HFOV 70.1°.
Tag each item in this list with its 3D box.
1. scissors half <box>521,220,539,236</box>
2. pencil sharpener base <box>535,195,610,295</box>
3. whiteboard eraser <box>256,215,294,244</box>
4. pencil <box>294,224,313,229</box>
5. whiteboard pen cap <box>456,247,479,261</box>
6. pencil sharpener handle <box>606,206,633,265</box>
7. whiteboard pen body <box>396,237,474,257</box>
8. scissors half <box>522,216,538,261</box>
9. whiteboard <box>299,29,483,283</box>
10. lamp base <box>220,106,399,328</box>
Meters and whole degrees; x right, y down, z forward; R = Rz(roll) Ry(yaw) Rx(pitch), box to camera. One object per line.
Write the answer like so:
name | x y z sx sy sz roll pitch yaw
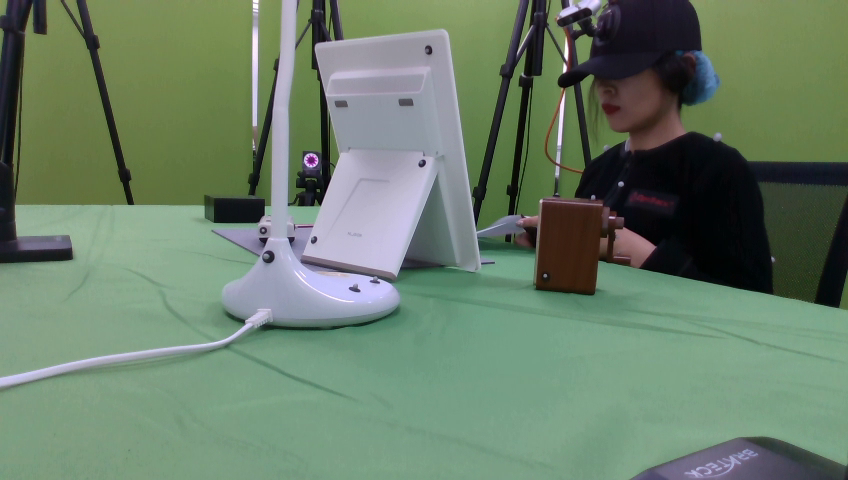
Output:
scissors half | 0.204 -0.024 1.094 0.013 0.040 0.176 13 3 28
pencil sharpener base | 0.172 0.005 0.695 0.076 0.107 0.061 5 7 16
whiteboard eraser | -0.232 -0.016 0.951 0.056 0.042 0.112 2 7 -12
pencil | -0.221 -0.028 1.211 0.195 0.012 0.012 -5 10 -34
whiteboard pen cap | 0.060 0.020 0.851 0.033 0.018 0.018 10 10 37
pencil sharpener handle | 0.222 -0.004 0.683 0.030 0.068 0.036 5 21 16
whiteboard pen body | 0.014 0.012 0.886 0.140 0.017 0.017 9 10 38
scissors half | 0.196 -0.004 1.092 0.012 0.040 0.176 18 -18 29
whiteboard | -0.074 -0.082 0.742 0.216 0.305 0.144 9 30 38
lamp base | -0.101 -0.023 0.531 0.160 0.180 0.179 4 10 10
